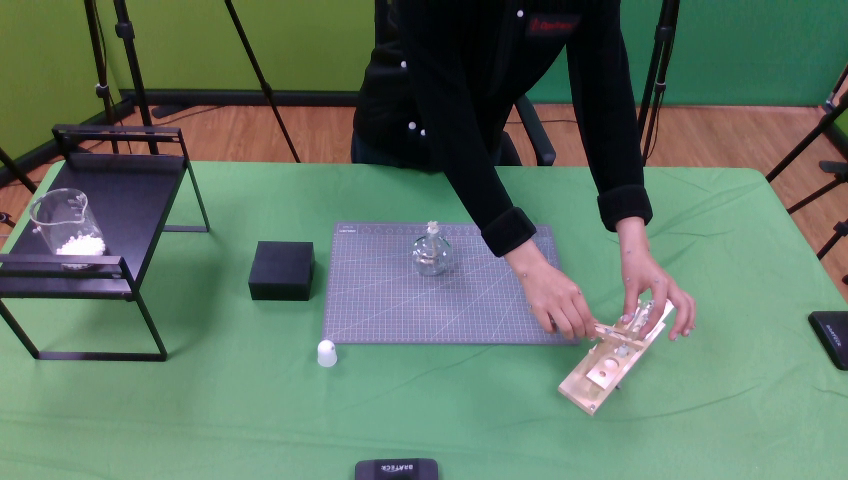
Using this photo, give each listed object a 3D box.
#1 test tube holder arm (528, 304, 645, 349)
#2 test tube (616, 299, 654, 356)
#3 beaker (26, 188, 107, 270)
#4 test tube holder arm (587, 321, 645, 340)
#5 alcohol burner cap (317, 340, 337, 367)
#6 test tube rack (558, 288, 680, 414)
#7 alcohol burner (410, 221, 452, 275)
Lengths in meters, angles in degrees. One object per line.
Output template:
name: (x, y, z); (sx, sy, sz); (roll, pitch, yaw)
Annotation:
test tube holder arm: (0.247, 0.132, 0.924); (0.178, 0.015, 0.013); (17, 46, 6)
test tube: (0.313, 0.137, 0.907); (0.017, 0.151, 0.017); (2, 49, -2)
beaker: (-0.503, -0.012, 0.867); (0.084, 0.101, 0.074); (23, 49, 17)
test tube holder arm: (0.292, 0.139, 0.924); (0.088, 0.015, 0.010); (12, 46, 2)
alcohol burner cap: (-0.161, 0.183, 0.995); (0.034, 0.048, 0.033); (2, 47, -2)
test tube rack: (0.327, 0.171, 1.008); (0.066, 0.085, 0.242); (35, 54, 27)
alcohol burner: (0.013, 0.008, 1.119); (0.078, 0.120, 0.077); (1, 48, -1)
